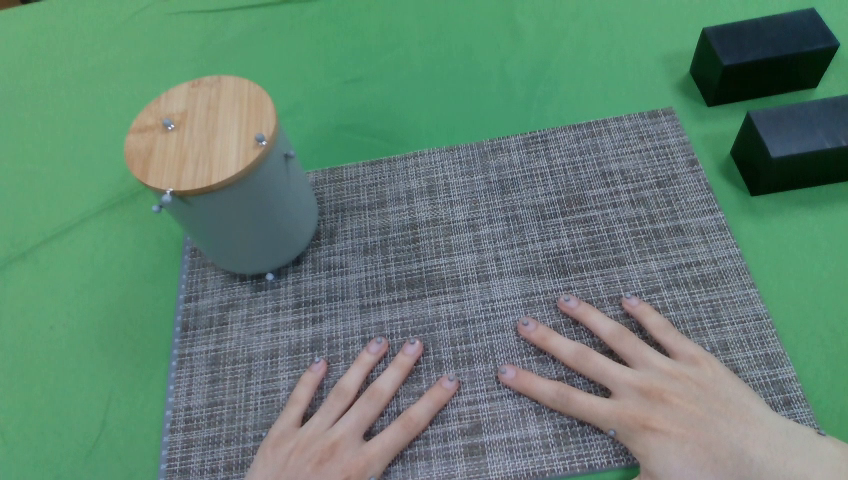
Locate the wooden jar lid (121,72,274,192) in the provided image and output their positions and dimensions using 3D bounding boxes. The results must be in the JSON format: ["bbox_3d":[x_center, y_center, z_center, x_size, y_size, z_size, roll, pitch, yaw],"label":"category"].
[{"bbox_3d":[-0.158,-0.075,0.432,0.108,0.021,0.107,-2,60,4],"label":"wooden jar lid"}]

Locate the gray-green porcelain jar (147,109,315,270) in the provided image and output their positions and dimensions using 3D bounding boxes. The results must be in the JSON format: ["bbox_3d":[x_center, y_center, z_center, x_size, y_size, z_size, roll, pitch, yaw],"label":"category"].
[{"bbox_3d":[-0.150,-0.043,0.484,0.106,0.127,0.105,-4,58,6],"label":"gray-green porcelain jar"}]
